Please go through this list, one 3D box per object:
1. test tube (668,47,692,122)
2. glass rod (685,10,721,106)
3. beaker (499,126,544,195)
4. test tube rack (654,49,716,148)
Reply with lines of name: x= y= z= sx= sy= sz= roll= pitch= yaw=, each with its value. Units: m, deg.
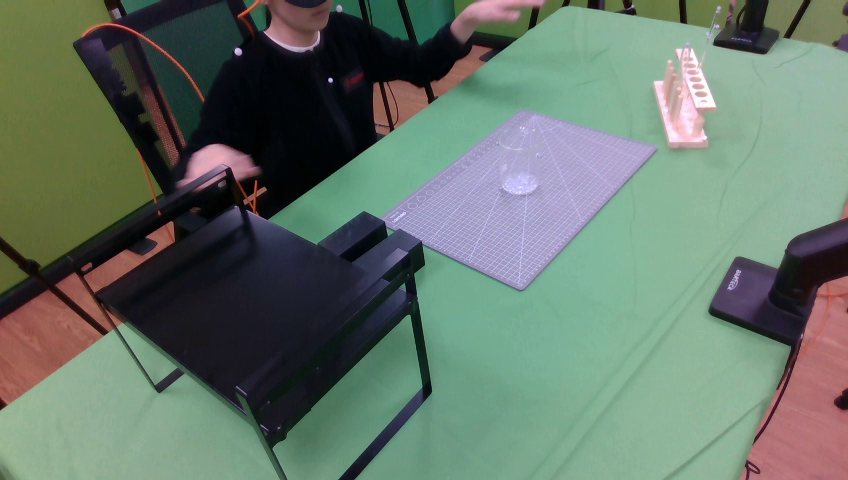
test tube: x=0.472 y=-0.285 z=1.117 sx=0.017 sy=0.151 sz=0.017 roll=-4 pitch=44 yaw=4
glass rod: x=0.523 y=-0.336 z=1.136 sx=0.008 sy=0.200 sz=0.008 roll=-1 pitch=47 yaw=1
beaker: x=0.170 y=-0.137 z=1.045 sx=0.073 sy=0.101 sz=0.084 roll=12 pitch=44 yaw=21
test tube rack: x=0.502 y=-0.281 z=1.176 sx=0.066 sy=0.085 sz=0.241 roll=2 pitch=41 yaw=11
